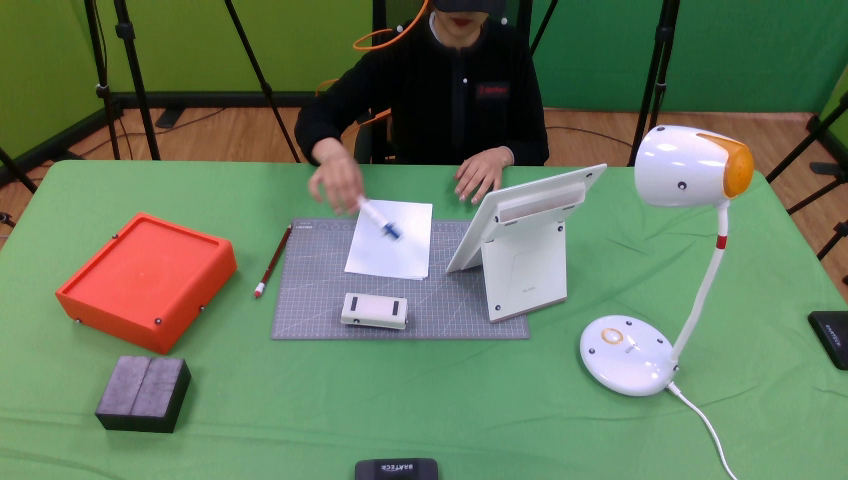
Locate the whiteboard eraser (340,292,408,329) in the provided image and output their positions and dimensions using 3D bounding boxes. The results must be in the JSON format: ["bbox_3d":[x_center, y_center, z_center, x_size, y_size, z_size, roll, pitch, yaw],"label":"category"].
[{"bbox_3d":[-0.087,0.125,1.052,0.113,0.042,0.055,5,45,1],"label":"whiteboard eraser"}]

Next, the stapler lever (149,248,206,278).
[{"bbox_3d":[-0.443,0.037,1.084,0.118,0.040,0.027,19,49,17],"label":"stapler lever"}]

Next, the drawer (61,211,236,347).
[{"bbox_3d":[-0.473,0.064,1.060,0.194,0.073,0.211,18,48,11],"label":"drawer"}]

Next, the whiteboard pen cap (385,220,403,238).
[{"bbox_3d":[-0.054,-0.020,1.082,0.033,0.018,0.018,43,56,12],"label":"whiteboard pen cap"}]

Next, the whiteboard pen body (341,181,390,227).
[{"bbox_3d":[-0.097,-0.059,1.093,0.140,0.017,0.017,42,56,12],"label":"whiteboard pen body"}]

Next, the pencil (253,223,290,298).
[{"bbox_3d":[-0.286,0.033,1.150,0.012,0.012,0.193,9,46,5],"label":"pencil"}]

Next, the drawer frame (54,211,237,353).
[{"bbox_3d":[-0.473,0.067,1.055,0.201,0.083,0.212,17,48,11],"label":"drawer frame"}]

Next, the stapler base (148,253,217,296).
[{"bbox_3d":[-0.443,0.059,1.109,0.130,0.024,0.041,24,50,11],"label":"stapler base"}]

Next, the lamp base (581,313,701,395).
[{"bbox_3d":[0.361,0.144,0.972,0.178,0.181,0.160,34,53,23],"label":"lamp base"}]

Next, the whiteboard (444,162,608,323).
[{"bbox_3d":[0.186,0.026,1.028,0.217,0.306,0.143,-14,68,-18],"label":"whiteboard"}]

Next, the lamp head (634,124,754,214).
[{"bbox_3d":[0.351,-0.089,0.775,0.112,0.113,0.122,-30,30,-28],"label":"lamp head"}]
